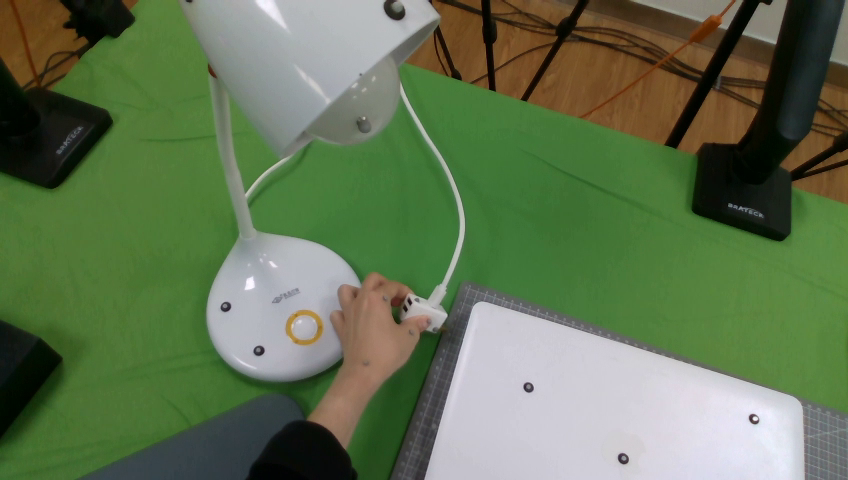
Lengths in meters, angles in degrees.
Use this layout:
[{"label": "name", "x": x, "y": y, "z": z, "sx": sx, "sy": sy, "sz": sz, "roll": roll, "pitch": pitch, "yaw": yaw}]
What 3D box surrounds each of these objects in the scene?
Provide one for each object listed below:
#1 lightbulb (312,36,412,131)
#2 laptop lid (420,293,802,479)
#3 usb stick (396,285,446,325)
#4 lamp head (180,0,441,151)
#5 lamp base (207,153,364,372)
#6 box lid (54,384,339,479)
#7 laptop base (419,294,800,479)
[{"label": "lightbulb", "x": -0.042, "y": -0.108, "z": 0.302, "sx": 0.059, "sy": 0.059, "sz": 0.108, "roll": -19, "pitch": 102, "yaw": -16}, {"label": "laptop lid", "x": 0.187, "y": 0.200, "z": 0.579, "sx": 0.356, "sy": 0.013, "sz": 0.240, "roll": 18, "pitch": 62, "yaw": 4}, {"label": "usb stick", "x": 0.002, "y": 0.070, "z": 0.627, "sx": 0.027, "sy": 0.060, "sz": 0.021, "roll": -54, "pitch": 34, "yaw": 10}, {"label": "lamp head", "x": -0.071, "y": -0.122, "z": 0.306, "sx": 0.123, "sy": 0.112, "sz": 0.112, "roll": 46, "pitch": 63, "yaw": -7}, {"label": "lamp base", "x": -0.145, "y": 0.014, "z": 0.571, "sx": 0.160, "sy": 0.181, "sz": 0.178, "roll": -37, "pitch": 67, "yaw": -24}, {"label": "box lid", "x": -0.162, "y": 0.321, "z": 0.489, "sx": 0.264, "sy": 0.015, "sz": 0.368, "roll": -23, "pitch": 66, "yaw": -18}, {"label": "laptop base", "x": 0.187, "y": 0.204, "z": 0.591, "sx": 0.354, "sy": 0.023, "sz": 0.234, "roll": 17, "pitch": 63, "yaw": 3}]
